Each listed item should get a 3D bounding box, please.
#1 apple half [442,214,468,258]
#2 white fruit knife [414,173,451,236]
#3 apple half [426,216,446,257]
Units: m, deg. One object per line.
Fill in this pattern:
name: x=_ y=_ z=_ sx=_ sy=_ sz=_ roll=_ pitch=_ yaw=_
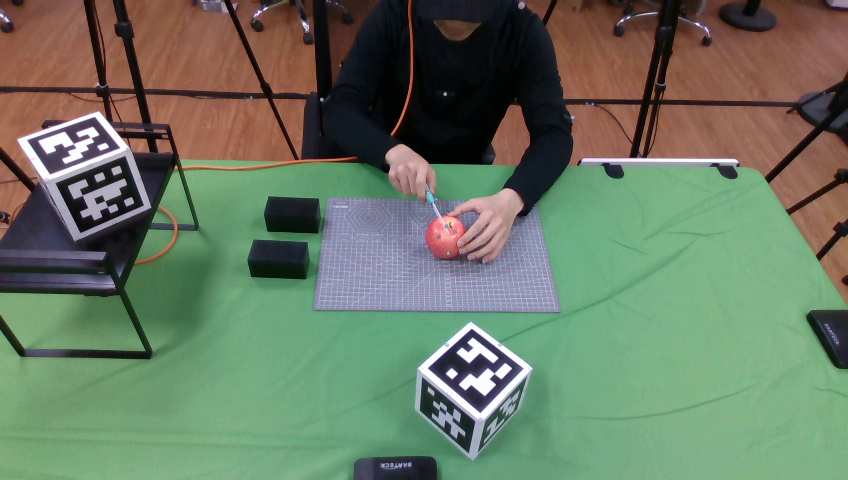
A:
apple half: x=0.057 y=-0.006 z=1.163 sx=0.053 sy=0.075 sz=0.080 roll=-2 pitch=42 yaw=-11
white fruit knife: x=0.018 y=-0.072 z=1.162 sx=0.016 sy=0.027 sz=0.206 roll=-20 pitch=43 yaw=-7
apple half: x=0.019 y=-0.003 z=1.156 sx=0.033 sy=0.081 sz=0.081 roll=-2 pitch=47 yaw=-10
